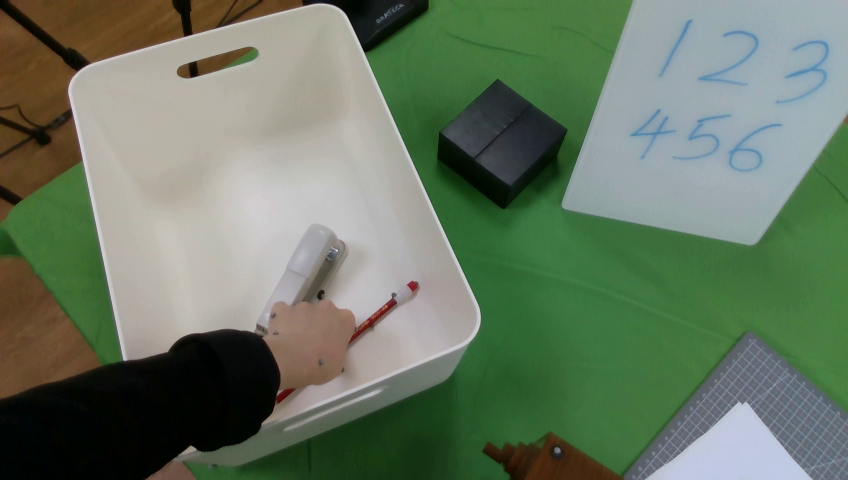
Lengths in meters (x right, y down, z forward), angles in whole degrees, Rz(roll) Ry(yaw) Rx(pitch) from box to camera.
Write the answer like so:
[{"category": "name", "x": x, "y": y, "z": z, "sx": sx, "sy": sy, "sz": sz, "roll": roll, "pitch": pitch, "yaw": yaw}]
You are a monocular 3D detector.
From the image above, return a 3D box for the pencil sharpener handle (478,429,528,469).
[{"category": "pencil sharpener handle", "x": 0.063, "y": 0.169, "z": 0.509, "sx": 0.030, "sy": 0.068, "sz": 0.036, "roll": 31, "pitch": 70, "yaw": 12}]

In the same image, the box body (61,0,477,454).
[{"category": "box body", "x": -0.139, "y": -0.014, "z": 0.563, "sx": 0.254, "sy": 0.161, "sz": 0.361, "roll": -20, "pitch": 69, "yaw": -10}]

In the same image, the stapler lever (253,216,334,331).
[{"category": "stapler lever", "x": -0.125, "y": 0.029, "z": 0.586, "sx": 0.027, "sy": 0.040, "sz": 0.117, "roll": 26, "pitch": 69, "yaw": 7}]

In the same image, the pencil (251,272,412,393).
[{"category": "pencil", "x": -0.084, "y": 0.086, "z": 0.583, "sx": 0.194, "sy": 0.012, "sz": 0.012, "roll": -35, "pitch": 71, "yaw": -28}]

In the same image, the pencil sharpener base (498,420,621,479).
[{"category": "pencil sharpener base", "x": 0.105, "y": 0.200, "z": 0.510, "sx": 0.076, "sy": 0.108, "sz": 0.061, "roll": 31, "pitch": 69, "yaw": 12}]

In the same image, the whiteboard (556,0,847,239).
[{"category": "whiteboard", "x": 0.280, "y": -0.173, "z": 0.606, "sx": 0.217, "sy": 0.308, "sz": 0.142, "roll": 12, "pitch": 47, "yaw": 4}]

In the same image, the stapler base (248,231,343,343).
[{"category": "stapler base", "x": -0.127, "y": 0.038, "z": 0.611, "sx": 0.041, "sy": 0.024, "sz": 0.130, "roll": 26, "pitch": 68, "yaw": 6}]
